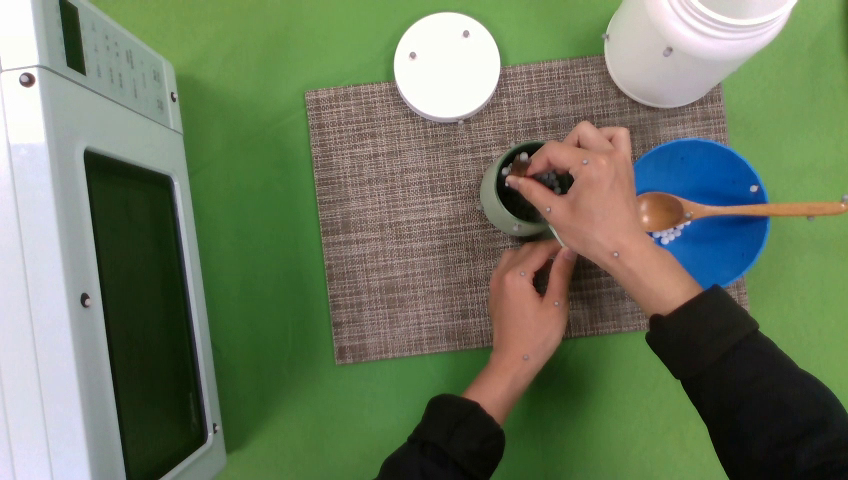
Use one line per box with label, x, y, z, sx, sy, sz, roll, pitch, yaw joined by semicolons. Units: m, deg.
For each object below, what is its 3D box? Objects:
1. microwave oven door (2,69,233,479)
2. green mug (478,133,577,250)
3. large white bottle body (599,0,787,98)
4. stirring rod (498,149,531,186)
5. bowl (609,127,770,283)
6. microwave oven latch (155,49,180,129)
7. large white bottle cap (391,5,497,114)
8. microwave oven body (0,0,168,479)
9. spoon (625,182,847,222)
microwave oven door;-0.249;0.059;0.529;0.039;0.244;0.355;-9;89;1
green mug;0.112;-0.044;0.606;0.092;0.105;0.125;-35;89;1
large white bottle body;0.249;-0.222;0.564;0.130;0.185;0.130;0;86;1
stirring rod;0.082;-0.065;0.563;0.014;0.176;0.006;15;88;3
bowl;0.255;-0.032;0.617;0.151;0.077;0.151;0;90;1
microwave oven latch;-0.277;-0.155;0.631;0.030;0.029;0.079;-9;90;0
large white bottle cap;0.021;-0.193;0.650;0.115;0.018;0.114;0;88;1
microwave oven body;-0.400;0.040;0.536;0.326;0.260;0.441;-9;90;0
spoon;0.298;-0.038;0.588;0.193;0.022;0.041;0;93;24
